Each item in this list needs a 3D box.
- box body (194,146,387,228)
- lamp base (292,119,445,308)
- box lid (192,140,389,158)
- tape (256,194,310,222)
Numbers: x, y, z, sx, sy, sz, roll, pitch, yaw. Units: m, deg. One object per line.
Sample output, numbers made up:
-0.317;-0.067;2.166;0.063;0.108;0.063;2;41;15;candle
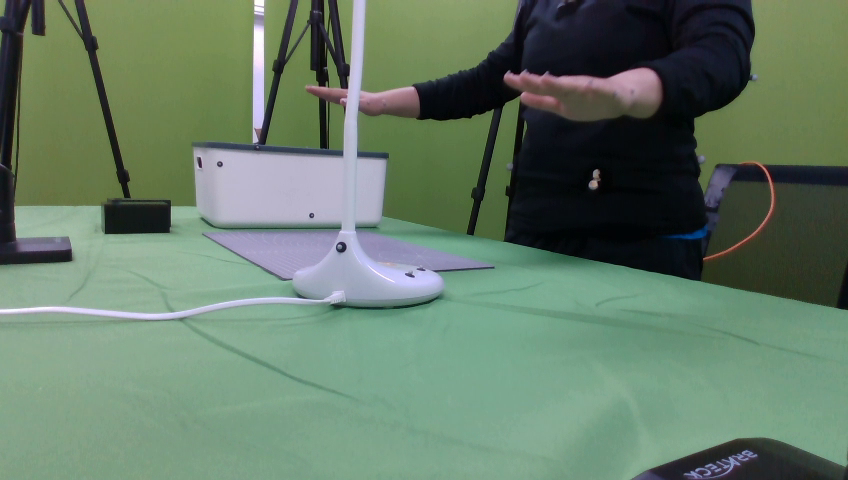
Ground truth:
-0.288;-0.118;1.291;0.366;0.160;0.253;-1;8;-28;box body
-0.056;-0.030;0.616;0.160;0.180;0.179;4;10;8;lamp base
-0.287;-0.190;1.281;0.373;0.015;0.262;0;8;-28;box lid
-0.301;-0.069;1.294;0.117;0.052;0.117;2;7;0;tape
